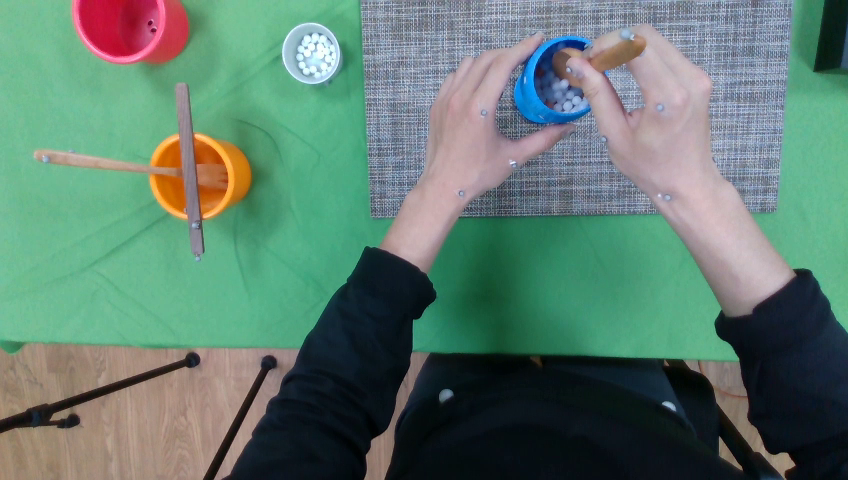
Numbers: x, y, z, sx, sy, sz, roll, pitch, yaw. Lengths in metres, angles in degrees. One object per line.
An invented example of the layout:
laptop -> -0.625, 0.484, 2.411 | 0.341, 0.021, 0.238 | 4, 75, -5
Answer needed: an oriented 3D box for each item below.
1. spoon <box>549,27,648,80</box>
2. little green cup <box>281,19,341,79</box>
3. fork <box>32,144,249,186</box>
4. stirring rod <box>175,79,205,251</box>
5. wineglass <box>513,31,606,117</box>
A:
spoon -> 0.121, -0.131, 0.433 | 0.042, 0.193, 0.021 | 41, 102, -8
little green cup -> -0.118, -0.202, 0.651 | 0.061, 0.038, 0.062 | 1, 101, 5
fork -> -0.284, -0.078, 0.630 | 0.209, 0.018, 0.028 | 3, 112, -41
stirring rod -> -0.241, -0.075, 0.626 | 0.014, 0.006, 0.176 | -1, 100, 4
wineglass -> 0.122, -0.151, 0.573 | 0.074, 0.172, 0.074 | 1, 100, 4
